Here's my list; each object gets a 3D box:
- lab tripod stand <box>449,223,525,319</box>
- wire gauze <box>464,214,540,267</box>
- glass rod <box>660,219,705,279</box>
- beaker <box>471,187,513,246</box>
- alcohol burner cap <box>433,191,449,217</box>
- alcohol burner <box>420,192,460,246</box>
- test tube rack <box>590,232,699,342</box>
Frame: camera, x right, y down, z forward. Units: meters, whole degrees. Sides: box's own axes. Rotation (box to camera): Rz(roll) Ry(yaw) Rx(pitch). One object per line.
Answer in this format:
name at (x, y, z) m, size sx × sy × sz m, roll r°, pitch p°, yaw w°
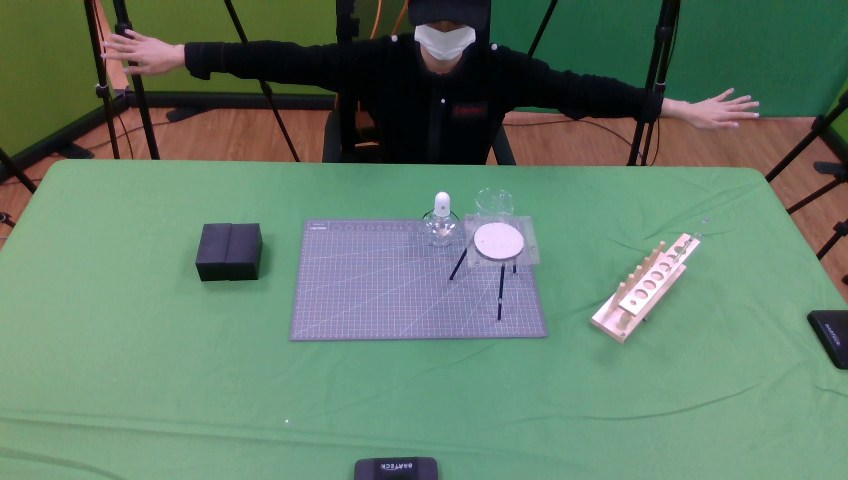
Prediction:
lab tripod stand at (0.120, 0.046, 1.080) m, size 0.148 × 0.132 × 0.147 m, roll 1°, pitch 47°, yaw -1°
wire gauze at (0.131, -0.002, 1.034) m, size 0.121 × 0.011 × 0.124 m, roll 1°, pitch 45°, yaw -2°
glass rod at (0.444, 0.032, 1.063) m, size 0.008 × 0.200 × 0.008 m, roll 5°, pitch 49°, yaw -6°
beaker at (0.134, -0.042, 1.190) m, size 0.083 × 0.101 × 0.074 m, roll 34°, pitch 53°, yaw 25°
alcohol burner cap at (0.033, -0.070, 1.150) m, size 0.034 × 0.048 × 0.033 m, roll 0°, pitch 44°, yaw 0°
alcohol burner at (0.032, -0.046, 1.176) m, size 0.078 × 0.120 × 0.077 m, roll 2°, pitch 44°, yaw -1°
test tube rack at (0.407, 0.074, 1.112) m, size 0.066 × 0.085 × 0.242 m, roll 35°, pitch 53°, yaw 26°
